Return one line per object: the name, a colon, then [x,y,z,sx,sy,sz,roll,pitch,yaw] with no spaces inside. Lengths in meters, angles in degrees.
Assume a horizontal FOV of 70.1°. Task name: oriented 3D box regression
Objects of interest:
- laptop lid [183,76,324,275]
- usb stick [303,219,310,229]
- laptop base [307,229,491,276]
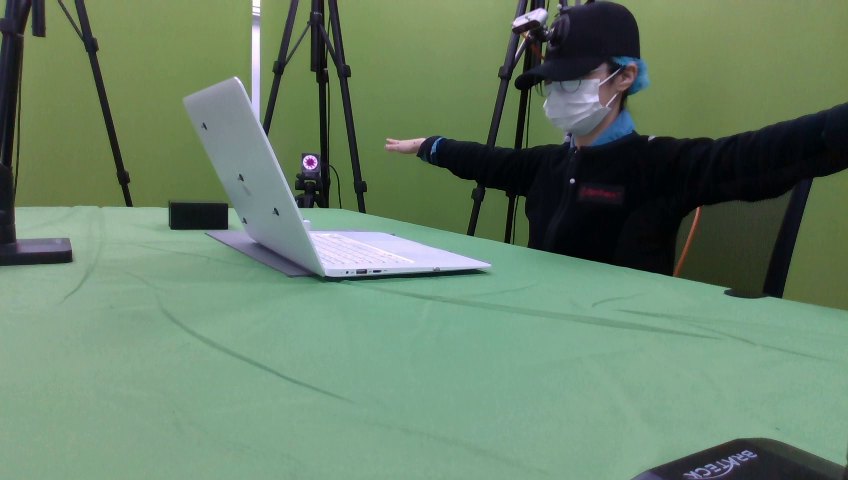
laptop lid: [-0.237,-0.085,0.791,0.013,0.242,0.355,-29,22,-23]
usb stick: [-0.238,-0.025,1.101,0.021,0.027,0.059,10,13,39]
laptop base: [-0.094,0.015,0.888,0.237,0.023,0.352,2,7,-30]
